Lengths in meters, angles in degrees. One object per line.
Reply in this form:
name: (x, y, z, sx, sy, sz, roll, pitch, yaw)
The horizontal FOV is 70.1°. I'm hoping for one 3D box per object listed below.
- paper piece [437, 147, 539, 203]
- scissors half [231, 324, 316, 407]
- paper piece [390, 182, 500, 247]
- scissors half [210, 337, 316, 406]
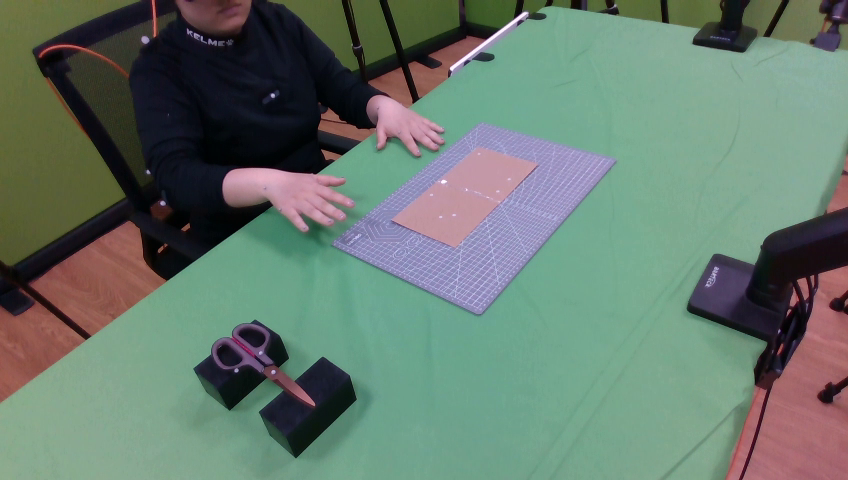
paper piece: (0.117, -0.122, 1.104, 0.135, 0.009, 0.138, 26, 49, 29)
scissors half: (-0.185, 0.153, 0.748, 0.040, 0.013, 0.173, -32, 48, -28)
paper piece: (0.037, -0.048, 1.027, 0.134, 0.004, 0.136, 23, 48, 30)
scissors half: (-0.198, 0.163, 0.736, 0.174, 0.013, 0.040, 20, 41, 25)
